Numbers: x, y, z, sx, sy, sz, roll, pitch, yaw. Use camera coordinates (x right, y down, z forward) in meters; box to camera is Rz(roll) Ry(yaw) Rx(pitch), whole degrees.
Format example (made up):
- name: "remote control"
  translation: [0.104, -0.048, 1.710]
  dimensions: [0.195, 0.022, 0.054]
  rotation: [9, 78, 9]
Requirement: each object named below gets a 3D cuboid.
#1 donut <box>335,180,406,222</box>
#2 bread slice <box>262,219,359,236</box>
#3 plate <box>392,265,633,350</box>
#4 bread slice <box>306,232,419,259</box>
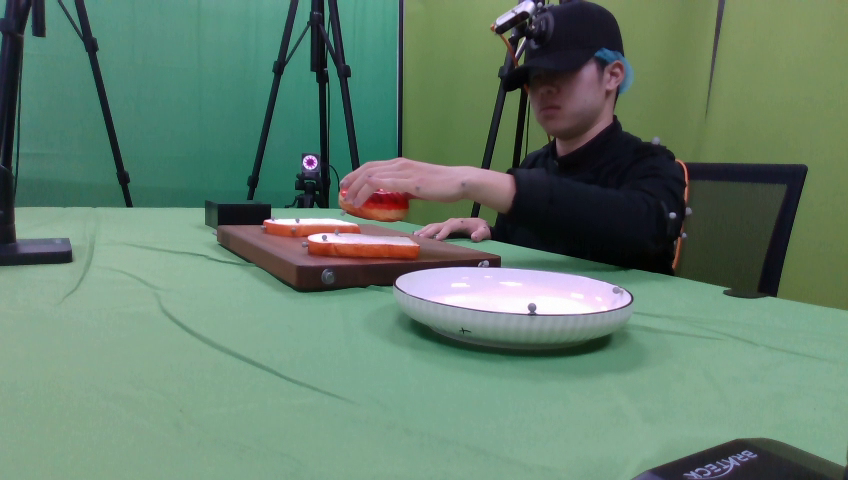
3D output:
- name: "donut"
  translation: [-0.073, -0.053, 0.828]
  dimensions: [0.099, 0.048, 0.099]
  rotation: [12, 14, -3]
- name: "bread slice"
  translation: [-0.179, -0.021, 0.931]
  dimensions: [0.132, 0.019, 0.104]
  rotation: [-1, 7, -35]
- name: "plate"
  translation: [0.074, 0.057, 0.533]
  dimensions: [0.209, 0.038, 0.209]
  rotation: [3, 7, 0]
- name: "bread slice"
  translation: [-0.077, 0.006, 0.747]
  dimensions: [0.135, 0.018, 0.106]
  rotation: [2, 7, -12]
